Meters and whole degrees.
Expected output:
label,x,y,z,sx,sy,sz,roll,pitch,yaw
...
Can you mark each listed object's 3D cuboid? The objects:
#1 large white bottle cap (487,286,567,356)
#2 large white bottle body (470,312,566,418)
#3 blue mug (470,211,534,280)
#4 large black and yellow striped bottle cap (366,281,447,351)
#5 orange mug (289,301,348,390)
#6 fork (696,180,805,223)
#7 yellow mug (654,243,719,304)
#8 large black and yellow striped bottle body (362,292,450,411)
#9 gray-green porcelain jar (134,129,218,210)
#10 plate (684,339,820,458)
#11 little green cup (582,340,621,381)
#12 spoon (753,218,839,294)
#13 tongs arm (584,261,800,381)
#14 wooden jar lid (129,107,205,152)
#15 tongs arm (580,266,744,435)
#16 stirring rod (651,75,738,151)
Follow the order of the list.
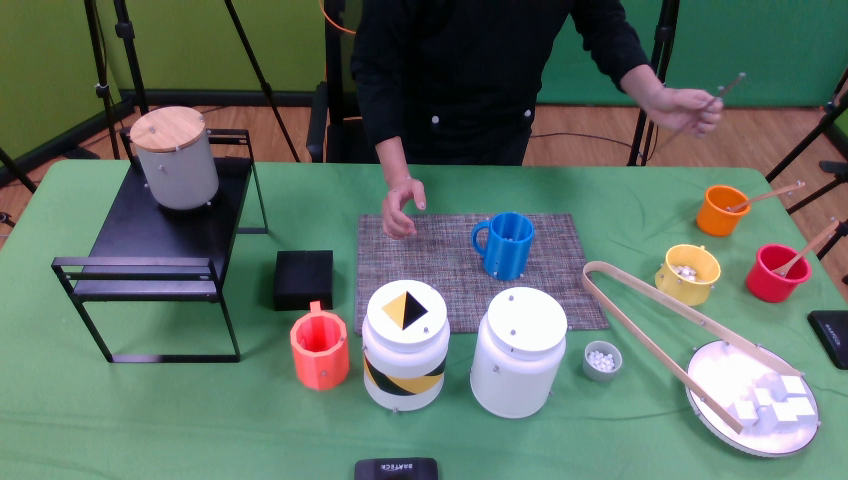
label,x,y,z,sx,sy,sz,roll,pitch,yaw
large white bottle cap,0.147,0.114,0.869,0.115,0.018,0.114,3,46,-3
large white bottle body,0.143,0.173,0.930,0.131,0.185,0.130,2,46,-2
blue mug,0.141,0.005,1.140,0.116,0.106,0.082,18,48,13
large black and yellow striped bottle cap,-0.025,0.106,0.865,0.115,0.019,0.114,2,46,-1
orange mug,-0.170,0.162,0.976,0.083,0.101,0.125,-7,52,-11
fork,0.659,-0.078,1.232,0.207,0.019,0.028,-26,37,33
yellow mug,0.504,0.054,1.155,0.099,0.064,0.130,28,49,22
large black and yellow striped bottle body,-0.029,0.163,0.928,0.131,0.185,0.130,2,47,-2
gray-green porcelain jar,-0.388,-0.120,0.960,0.106,0.127,0.105,2,46,-2
plate,0.523,0.256,0.982,0.208,0.039,0.206,2,46,-2
little green cup,0.295,0.204,1.014,0.061,0.039,0.061,2,45,-2
spoon,0.700,0.031,1.138,0.194,0.022,0.041,-47,55,14
tongs arm,0.452,0.137,1.064,0.051,0.027,0.382,-34,50,-27
wooden jar lid,-0.385,-0.163,0.915,0.108,0.021,0.107,2,47,-2
tongs arm,0.384,0.173,1.028,0.028,0.028,0.385,-25,46,-15
stirring rod,0.458,-0.214,1.031,0.006,0.176,0.014,44,24,-2
